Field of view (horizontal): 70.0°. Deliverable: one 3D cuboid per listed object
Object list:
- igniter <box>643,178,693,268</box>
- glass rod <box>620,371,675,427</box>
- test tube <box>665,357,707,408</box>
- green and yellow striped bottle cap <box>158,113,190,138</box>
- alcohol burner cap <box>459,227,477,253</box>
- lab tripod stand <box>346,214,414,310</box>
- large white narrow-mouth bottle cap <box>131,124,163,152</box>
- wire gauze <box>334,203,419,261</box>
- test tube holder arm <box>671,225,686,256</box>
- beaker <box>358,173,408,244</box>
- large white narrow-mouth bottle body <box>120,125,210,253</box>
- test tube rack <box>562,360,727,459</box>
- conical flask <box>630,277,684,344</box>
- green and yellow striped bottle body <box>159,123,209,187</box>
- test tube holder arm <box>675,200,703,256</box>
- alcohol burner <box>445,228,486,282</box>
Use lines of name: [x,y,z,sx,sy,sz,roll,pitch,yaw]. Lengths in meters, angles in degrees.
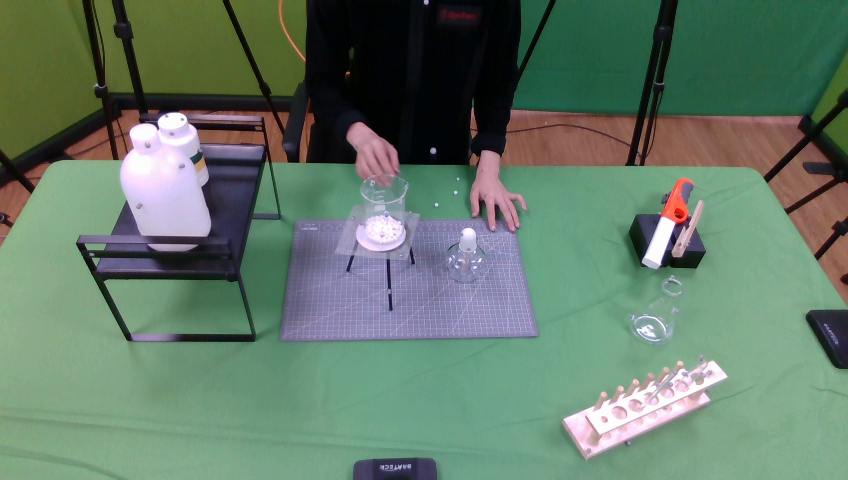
igniter: [0.488,-0.042,1.205,0.057,0.025,0.276,30,51,11]
glass rod: [0.315,0.230,0.863,0.008,0.200,0.008,3,54,-3]
test tube: [0.387,0.215,0.905,0.017,0.151,0.017,1,52,-1]
green and yellow striped bottle cap: [-0.393,-0.180,0.951,0.045,0.020,0.045,2,44,-2]
alcohol burner cap: [0.079,-0.002,1.088,0.034,0.048,0.033,-1,54,2]
lab tripod stand: [-0.075,0.030,1.082,0.148,0.132,0.147,1,47,-1]
large white narrow-mouth bottle cap: [-0.371,-0.137,0.813,0.038,0.024,0.037,3,46,-3]
wire gauze: [-0.079,-0.013,1.031,0.121,0.011,0.124,8,48,6]
test tube holder arm: [0.494,0.001,1.167,0.010,0.015,0.087,1,36,42]
beaker: [-0.066,-0.050,1.001,0.084,0.101,0.073,-18,49,-20]
large white narrow-mouth bottle body: [-0.378,-0.077,0.875,0.102,0.195,0.101,3,46,-3]
test tube rack: [0.341,0.247,0.940,0.243,0.085,0.066,-16,49,-19]
conical flask: [0.408,0.117,1.045,0.075,0.122,0.075,2,46,-2]
green and yellow striped bottle body: [-0.395,-0.145,0.989,0.063,0.120,0.063,2,46,-2]
test tube holder arm: [0.523,-0.025,1.190,0.013,0.015,0.178,1,36,41]
alcohol burner: [0.077,0.021,1.115,0.078,0.120,0.077,1,48,-1]
